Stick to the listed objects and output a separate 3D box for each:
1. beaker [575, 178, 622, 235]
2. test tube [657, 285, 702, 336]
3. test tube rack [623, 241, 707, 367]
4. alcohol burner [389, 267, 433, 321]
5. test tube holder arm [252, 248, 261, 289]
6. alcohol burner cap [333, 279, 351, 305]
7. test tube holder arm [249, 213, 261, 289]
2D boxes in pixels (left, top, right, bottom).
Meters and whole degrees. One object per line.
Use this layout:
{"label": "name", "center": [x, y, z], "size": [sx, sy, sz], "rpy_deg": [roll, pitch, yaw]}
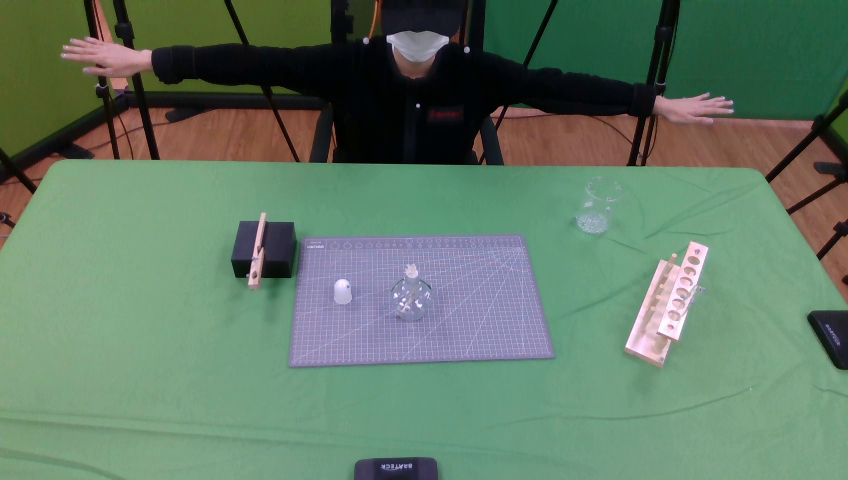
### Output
{"label": "beaker", "center": [0.356, -0.068, 1.239], "size": [0.084, 0.101, 0.073], "rpy_deg": [-18, 50, -21]}
{"label": "test tube", "center": [0.418, 0.121, 1.000], "size": [0.017, 0.151, 0.017], "rpy_deg": [3, 51, -4]}
{"label": "test tube rack", "center": [0.435, 0.104, 1.089], "size": [0.066, 0.085, 0.242], "rpy_deg": [24, 49, 18]}
{"label": "alcohol burner", "center": [-0.022, 0.085, 1.046], "size": [0.078, 0.119, 0.077], "rpy_deg": [2, 48, -3]}
{"label": "test tube holder arm", "center": [-0.294, 0.049, 1.066], "size": [0.010, 0.015, 0.087], "rpy_deg": [4, 45, -14]}
{"label": "alcohol burner cap", "center": [-0.147, 0.090, 1.083], "size": [0.034, 0.048, 0.033], "rpy_deg": [2, 46, -2]}
{"label": "test tube holder arm", "center": [-0.305, 0.016, 1.096], "size": [0.013, 0.015, 0.177], "rpy_deg": [3, 45, -15]}
